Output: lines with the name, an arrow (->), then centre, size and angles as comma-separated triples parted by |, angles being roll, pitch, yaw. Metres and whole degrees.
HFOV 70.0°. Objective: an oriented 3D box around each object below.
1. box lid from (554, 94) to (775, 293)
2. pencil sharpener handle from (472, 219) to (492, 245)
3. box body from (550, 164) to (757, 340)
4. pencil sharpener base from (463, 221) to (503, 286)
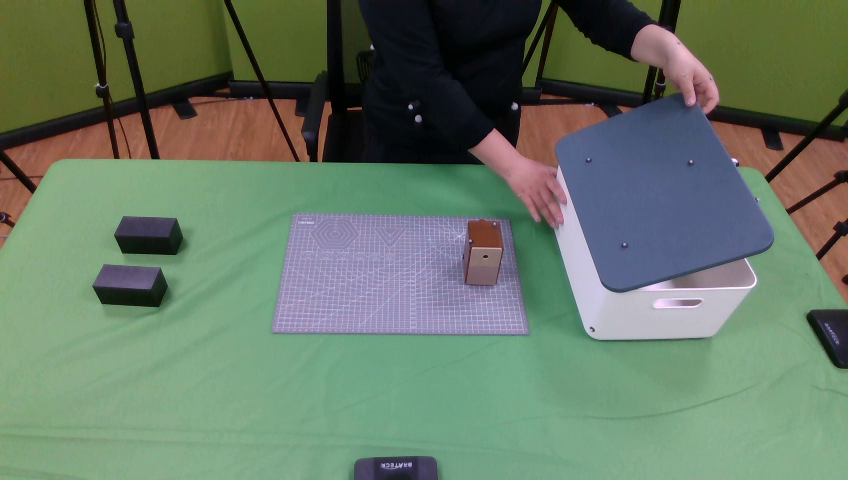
box lid -> 0.384, -0.090, 1.026 | 0.263, 0.015, 0.369 | -19, 49, 13
pencil sharpener handle -> 0.104, -0.021, 1.146 | 0.036, 0.068, 0.030 | 7, 44, -8
box body -> 0.395, 0.003, 1.127 | 0.254, 0.161, 0.361 | -1, 46, -5
pencil sharpener base -> 0.107, 0.024, 1.119 | 0.061, 0.107, 0.076 | 1, 45, -2
